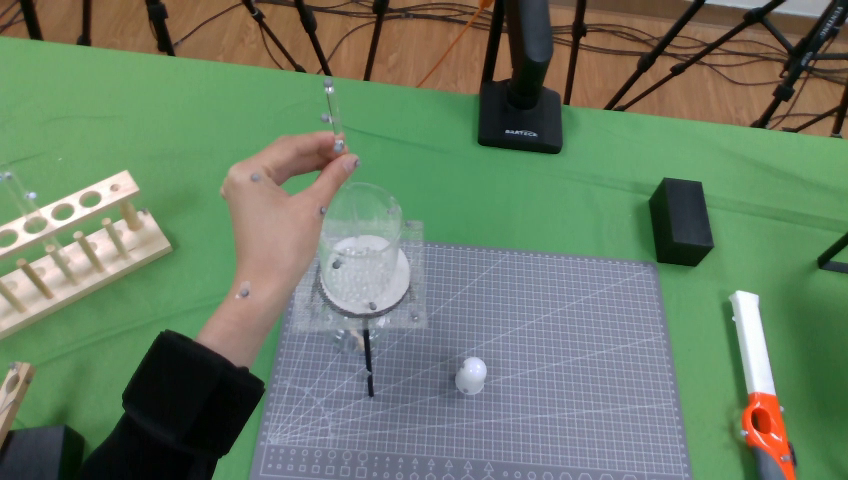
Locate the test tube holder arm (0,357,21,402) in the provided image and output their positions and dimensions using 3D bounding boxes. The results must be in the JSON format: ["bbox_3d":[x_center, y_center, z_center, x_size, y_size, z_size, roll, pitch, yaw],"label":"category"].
[{"bbox_3d":[-0.394,0.188,0.533,0.013,0.015,0.177,7,57,1],"label":"test tube holder arm"}]

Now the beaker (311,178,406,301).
[{"bbox_3d":[-0.060,0.003,0.533,0.083,0.101,0.073,28,60,11],"label":"beaker"}]

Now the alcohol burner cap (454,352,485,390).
[{"bbox_3d":[0.050,0.139,0.650,0.034,0.048,0.033,2,59,-3],"label":"alcohol burner cap"}]

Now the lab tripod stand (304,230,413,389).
[{"bbox_3d":[-0.063,0.065,0.630,0.148,0.132,0.147,4,59,-5],"label":"lab tripod stand"}]

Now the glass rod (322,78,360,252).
[{"bbox_3d":[-0.062,-0.045,0.464,0.008,0.201,0.008,0,57,0],"label":"glass rod"}]

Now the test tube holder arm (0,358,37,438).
[{"bbox_3d":[-0.384,0.152,0.558,0.010,0.015,0.087,8,57,2],"label":"test tube holder arm"}]

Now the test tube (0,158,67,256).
[{"bbox_3d":[-0.402,-0.028,0.625,0.017,0.151,0.017,3,53,-4],"label":"test tube"}]

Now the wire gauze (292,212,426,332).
[{"bbox_3d":[-0.060,0.027,0.576,0.121,0.011,0.124,0,62,-4],"label":"wire gauze"}]

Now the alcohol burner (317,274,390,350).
[{"bbox_3d":[-0.073,0.069,0.638,0.078,0.120,0.077,4,57,-6],"label":"alcohol burner"}]

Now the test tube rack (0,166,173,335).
[{"bbox_3d":[-0.410,0.020,0.653,0.242,0.086,0.066,-31,66,-22],"label":"test tube rack"}]

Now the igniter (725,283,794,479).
[{"bbox_3d":[0.372,0.174,0.672,0.057,0.025,0.274,13,58,-10],"label":"igniter"}]
